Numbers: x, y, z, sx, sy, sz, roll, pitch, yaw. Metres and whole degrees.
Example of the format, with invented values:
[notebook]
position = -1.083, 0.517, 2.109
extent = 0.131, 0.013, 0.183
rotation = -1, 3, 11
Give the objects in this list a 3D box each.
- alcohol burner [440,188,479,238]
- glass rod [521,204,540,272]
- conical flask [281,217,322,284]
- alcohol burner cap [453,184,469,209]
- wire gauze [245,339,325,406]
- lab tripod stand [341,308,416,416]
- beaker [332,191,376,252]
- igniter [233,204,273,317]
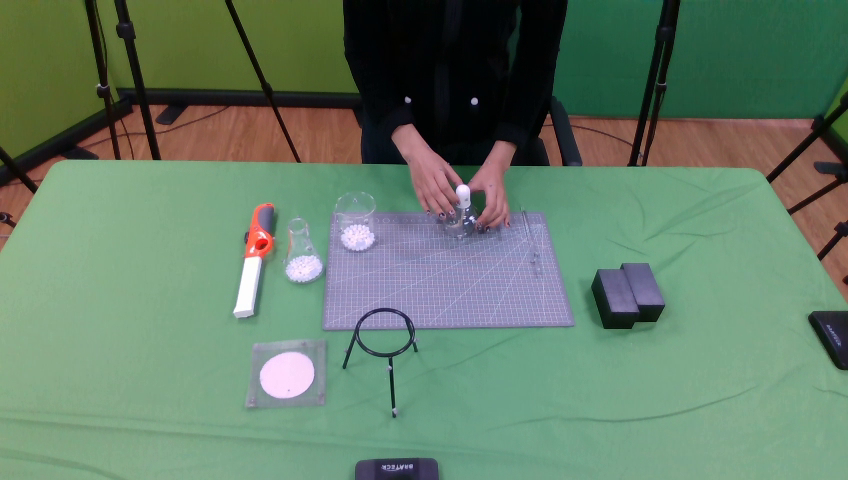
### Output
[alcohol burner]
position = 0.072, -0.061, 1.198
extent = 0.078, 0.119, 0.077
rotation = 4, 47, -4
[glass rod]
position = 0.215, -0.008, 1.230
extent = 0.008, 0.008, 0.198
rotation = 0, 43, -3
[conical flask]
position = -0.226, 0.016, 1.097
extent = 0.075, 0.122, 0.075
rotation = 2, 46, -2
[alcohol burner cap]
position = 0.073, -0.086, 1.171
extent = 0.034, 0.048, 0.033
rotation = -1, 51, 1
[wire gauze]
position = -0.224, 0.214, 0.984
extent = 0.125, 0.011, 0.120
rotation = -2, 46, -5
[lab tripod stand]
position = -0.061, 0.177, 0.946
extent = 0.148, 0.132, 0.147
rotation = 2, 44, -2
[beaker]
position = -0.133, -0.032, 1.163
extent = 0.084, 0.101, 0.073
rotation = -19, 50, -20
[igniter]
position = -0.321, 0.029, 1.142
extent = 0.057, 0.025, 0.274
rotation = -8, 46, 4
